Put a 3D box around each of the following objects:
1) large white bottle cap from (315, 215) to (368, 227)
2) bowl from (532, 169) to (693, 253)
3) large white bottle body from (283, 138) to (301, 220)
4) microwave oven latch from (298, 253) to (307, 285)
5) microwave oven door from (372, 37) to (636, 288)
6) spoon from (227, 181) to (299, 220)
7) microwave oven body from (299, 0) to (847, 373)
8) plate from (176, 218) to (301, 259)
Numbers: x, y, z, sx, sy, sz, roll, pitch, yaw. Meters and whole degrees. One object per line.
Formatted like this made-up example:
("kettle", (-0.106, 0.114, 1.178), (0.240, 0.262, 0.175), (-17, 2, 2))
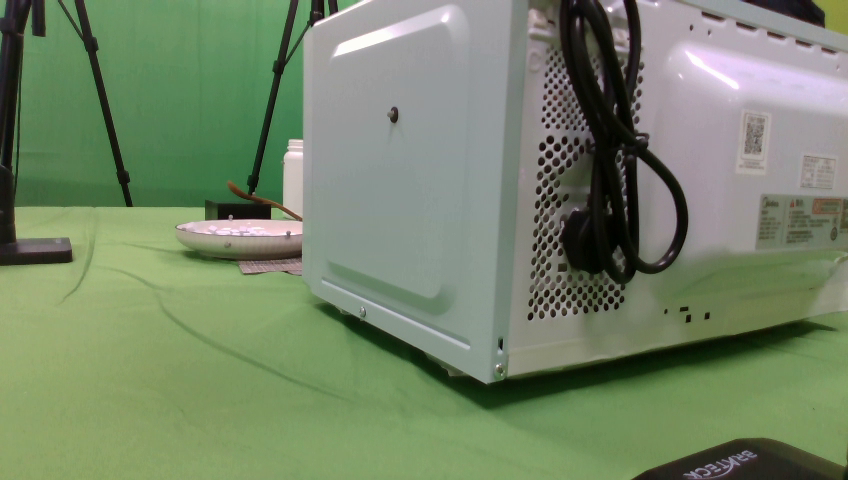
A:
("large white bottle cap", (-0.177, -0.041, 1.309), (0.115, 0.018, 0.115), (2, 6, 0))
("bowl", (0.181, -0.030, 0.596), (0.151, 0.077, 0.151), (1, 7, 0))
("large white bottle body", (-0.265, -0.144, 1.423), (0.131, 0.184, 0.130), (2, 7, 0))
("microwave oven latch", (-0.081, 0.027, 0.583), (0.079, 0.029, 0.030), (-2, 8, -33))
("microwave oven door", (0.110, -0.080, 0.686), (0.358, 0.243, 0.039), (-2, 9, -33))
("spoon", (-0.315, -0.074, 1.235), (0.195, 0.021, 0.041), (24, -10, -37))
("microwave oven body", (0.151, -0.055, 0.542), (0.444, 0.260, 0.324), (-2, 8, -32))
("plate", (-0.248, -0.003, 0.877), (0.209, 0.038, 0.209), (1, 8, 0))
